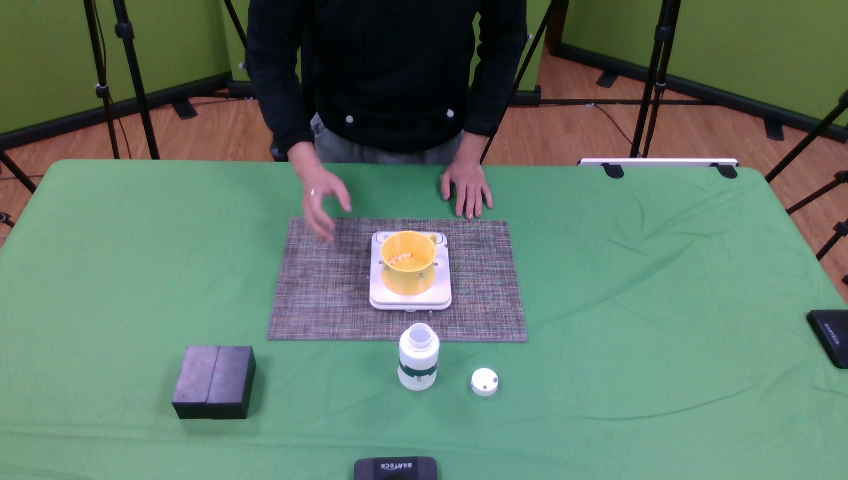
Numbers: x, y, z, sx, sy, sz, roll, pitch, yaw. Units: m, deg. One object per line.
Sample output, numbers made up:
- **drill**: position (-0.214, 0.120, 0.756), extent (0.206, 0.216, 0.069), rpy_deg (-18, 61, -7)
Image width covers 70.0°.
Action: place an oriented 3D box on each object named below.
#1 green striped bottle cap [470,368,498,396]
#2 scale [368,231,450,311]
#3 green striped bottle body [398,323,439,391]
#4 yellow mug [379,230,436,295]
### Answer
- **green striped bottle cap**: position (0.098, 0.232, 0.989), extent (0.044, 0.020, 0.044), rpy_deg (2, 43, -1)
- **scale**: position (-0.029, 0.048, 1.137), extent (0.149, 0.032, 0.199), rpy_deg (1, 46, -4)
- **green striped bottle body**: position (-0.010, 0.181, 0.956), extent (0.063, 0.120, 0.063), rpy_deg (2, 46, -2)
- **yellow mug**: position (-0.020, 0.030, 1.089), extent (0.099, 0.064, 0.130), rpy_deg (31, 52, 24)
